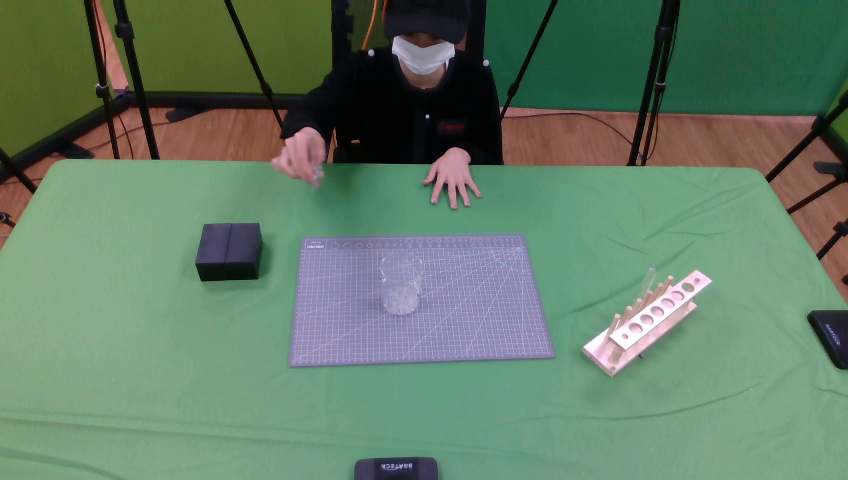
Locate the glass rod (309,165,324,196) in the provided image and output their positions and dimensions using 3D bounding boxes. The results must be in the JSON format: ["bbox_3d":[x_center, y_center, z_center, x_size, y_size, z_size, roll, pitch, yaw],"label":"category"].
[{"bbox_3d":[-0.180,-0.096,1.003,0.008,0.199,0.008,2,81,-15],"label":"glass rod"}]

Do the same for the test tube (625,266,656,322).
[{"bbox_3d":[0.366,0.096,1.027,0.017,0.151,0.017,1,47,0],"label":"test tube"}]

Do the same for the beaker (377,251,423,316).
[{"bbox_3d":[-0.040,0.081,1.060,0.074,0.101,0.083,-32,57,-30],"label":"beaker"}]

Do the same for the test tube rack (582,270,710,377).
[{"bbox_3d":[0.389,0.132,1.057,0.242,0.085,0.066,-28,54,-28],"label":"test tube rack"}]
